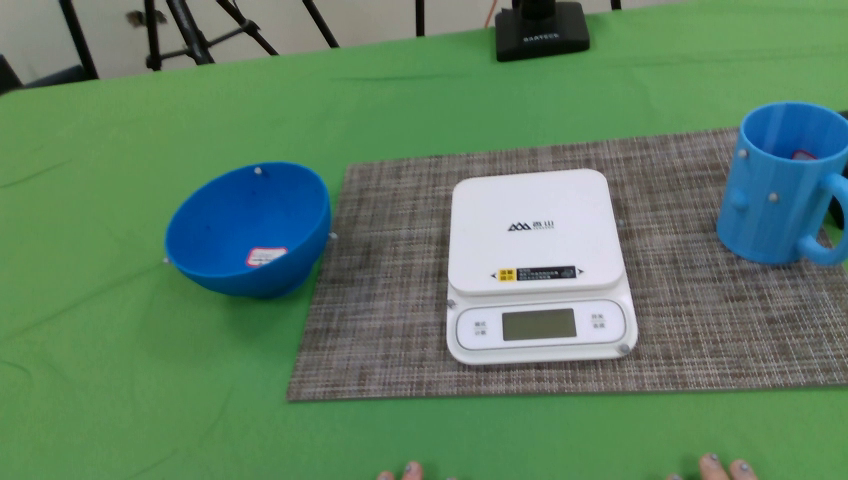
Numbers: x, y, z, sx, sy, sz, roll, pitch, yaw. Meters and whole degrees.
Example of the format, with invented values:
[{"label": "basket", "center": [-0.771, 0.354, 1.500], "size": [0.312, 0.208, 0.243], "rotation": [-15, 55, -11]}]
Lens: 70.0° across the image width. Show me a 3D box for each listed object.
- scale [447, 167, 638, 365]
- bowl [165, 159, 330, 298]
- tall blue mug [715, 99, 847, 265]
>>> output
[{"label": "scale", "center": [0.095, 0.015, 0.527], "size": [0.148, 0.032, 0.199], "rotation": [-5, 46, 10]}, {"label": "bowl", "center": [-0.153, 0.002, 0.572], "size": [0.151, 0.077, 0.150], "rotation": [-7, 46, 7]}, {"label": "tall blue mug", "center": [0.294, -0.039, 0.475], "size": [0.106, 0.109, 0.077], "rotation": [29, 58, 34]}]
